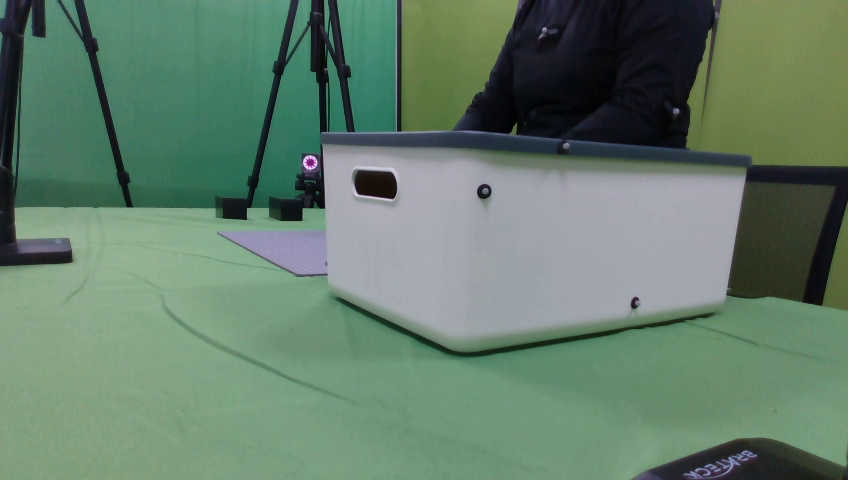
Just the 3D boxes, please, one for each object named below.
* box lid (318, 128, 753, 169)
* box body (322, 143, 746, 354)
[{"bbox_3d":[0.107,-0.085,0.593,0.373,0.015,0.262,-1,8,-34],"label":"box lid"},{"bbox_3d":[0.106,-0.011,0.603,0.366,0.160,0.253,-2,8,-34],"label":"box body"}]
